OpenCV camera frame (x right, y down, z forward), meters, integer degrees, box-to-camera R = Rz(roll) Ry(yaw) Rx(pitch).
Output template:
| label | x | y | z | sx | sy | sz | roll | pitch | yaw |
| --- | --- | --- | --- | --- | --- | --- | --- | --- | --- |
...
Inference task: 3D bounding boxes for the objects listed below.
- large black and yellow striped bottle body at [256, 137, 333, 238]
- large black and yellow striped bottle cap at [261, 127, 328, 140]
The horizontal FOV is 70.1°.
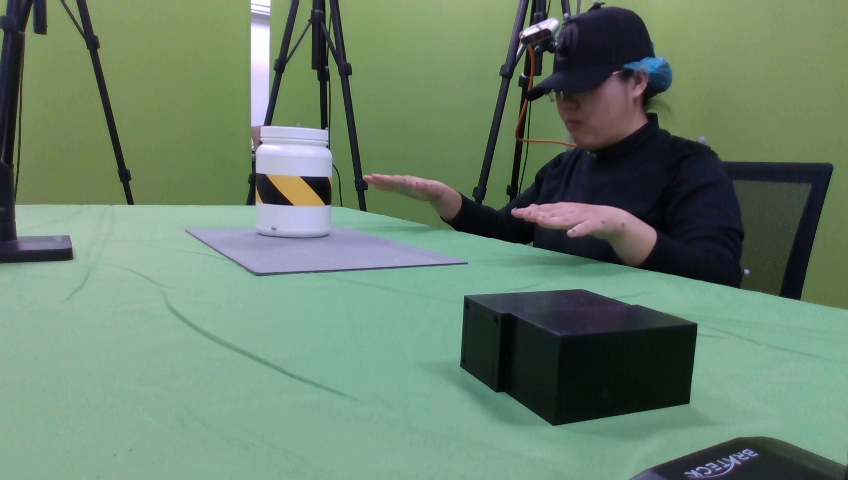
| label | x | y | z | sx | sy | sz | roll | pitch | yaw |
| --- | --- | --- | --- | --- | --- | --- | --- | --- | --- |
| large black and yellow striped bottle body | -0.228 | -0.102 | 1.063 | 0.131 | 0.184 | 0.130 | 3 | 8 | 0 |
| large black and yellow striped bottle cap | -0.224 | -0.184 | 1.051 | 0.115 | 0.019 | 0.115 | 2 | 7 | 0 |
